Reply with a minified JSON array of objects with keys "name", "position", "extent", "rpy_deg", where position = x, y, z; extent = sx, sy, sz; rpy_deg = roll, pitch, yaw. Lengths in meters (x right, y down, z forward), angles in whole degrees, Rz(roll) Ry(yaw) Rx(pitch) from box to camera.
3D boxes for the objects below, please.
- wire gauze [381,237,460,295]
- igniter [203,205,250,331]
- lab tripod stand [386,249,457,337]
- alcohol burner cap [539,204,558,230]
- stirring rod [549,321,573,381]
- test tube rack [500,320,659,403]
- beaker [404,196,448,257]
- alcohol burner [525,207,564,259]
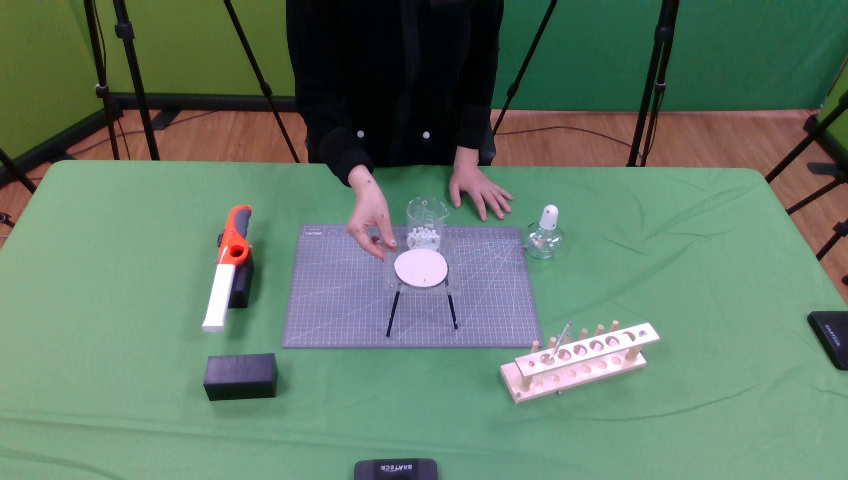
[{"name":"wire gauze","position":[-0.007,0.040,0.983],"extent":[0.125,0.011,0.120],"rpy_deg":[1,44,-4]},{"name":"igniter","position":[-0.345,0.039,1.065],"extent":[0.057,0.025,0.274],"rpy_deg":[2,49,-6]},{"name":"lab tripod stand","position":[-0.010,0.087,1.032],"extent":[0.148,0.132,0.147],"rpy_deg":[1,45,-1]},{"name":"alcohol burner cap","position":[0.239,-0.045,1.148],"extent":[0.034,0.048,0.033],"rpy_deg":[2,42,-1]},{"name":"stirring rod","position":[0.202,0.167,0.901],"extent":[0.006,0.177,0.014],"rpy_deg":[-18,55,-11]},{"name":"test tube rack","position":[0.252,0.187,0.994],"extent":[0.243,0.085,0.066],"rpy_deg":[-12,48,-15]},{"name":"beaker","position":[0.001,-0.024,1.164],"extent":[0.084,0.101,0.073],"rpy_deg":[6,46,0]},{"name":"alcohol burner","position":[0.236,-0.020,1.174],"extent":[0.078,0.120,0.077],"rpy_deg":[1,48,-1]}]
